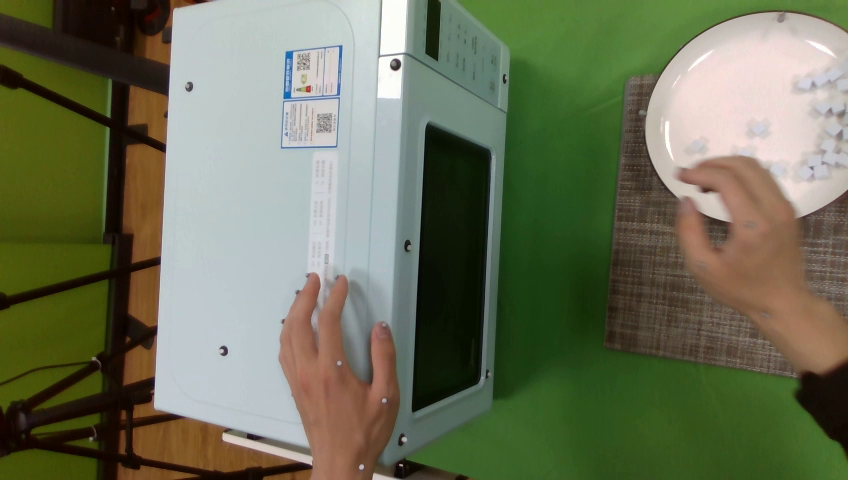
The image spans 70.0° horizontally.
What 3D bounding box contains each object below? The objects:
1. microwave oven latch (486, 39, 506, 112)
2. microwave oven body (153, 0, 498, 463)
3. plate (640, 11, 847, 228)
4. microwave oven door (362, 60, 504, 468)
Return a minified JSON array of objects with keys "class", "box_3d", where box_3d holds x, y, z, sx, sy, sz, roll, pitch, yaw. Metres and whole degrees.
[{"class":"microwave oven latch","box_3d":[0.079,-0.191,0.711,0.030,0.029,0.079,3,91,28]},{"class":"microwave oven body","box_3d":[-0.106,-0.023,0.697,0.324,0.261,0.441,3,91,28]},{"class":"plate","box_3d":[0.323,-0.114,0.593,0.208,0.038,0.209,-1,88,28]},{"class":"microwave oven door","box_3d":[0.018,0.024,0.624,0.039,0.245,0.355,3,90,29]}]
